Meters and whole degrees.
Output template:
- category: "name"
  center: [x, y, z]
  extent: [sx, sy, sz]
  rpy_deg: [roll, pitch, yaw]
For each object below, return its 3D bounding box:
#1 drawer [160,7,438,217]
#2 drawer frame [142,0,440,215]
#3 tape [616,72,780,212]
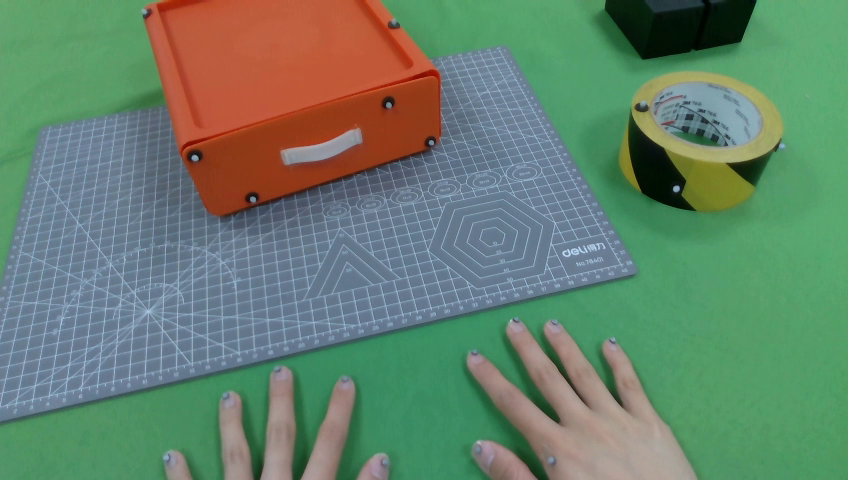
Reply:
- category: "drawer"
  center: [-0.118, -0.137, 0.526]
  extent: [0.195, 0.074, 0.209]
  rpy_deg: [-21, 51, -13]
- category: "drawer frame"
  center: [-0.120, -0.142, 0.528]
  extent: [0.202, 0.083, 0.211]
  rpy_deg: [-21, 51, -14]
- category: "tape"
  center: [0.214, -0.081, 0.482]
  extent: [0.117, 0.053, 0.115]
  rpy_deg: [-1, 50, 2]
